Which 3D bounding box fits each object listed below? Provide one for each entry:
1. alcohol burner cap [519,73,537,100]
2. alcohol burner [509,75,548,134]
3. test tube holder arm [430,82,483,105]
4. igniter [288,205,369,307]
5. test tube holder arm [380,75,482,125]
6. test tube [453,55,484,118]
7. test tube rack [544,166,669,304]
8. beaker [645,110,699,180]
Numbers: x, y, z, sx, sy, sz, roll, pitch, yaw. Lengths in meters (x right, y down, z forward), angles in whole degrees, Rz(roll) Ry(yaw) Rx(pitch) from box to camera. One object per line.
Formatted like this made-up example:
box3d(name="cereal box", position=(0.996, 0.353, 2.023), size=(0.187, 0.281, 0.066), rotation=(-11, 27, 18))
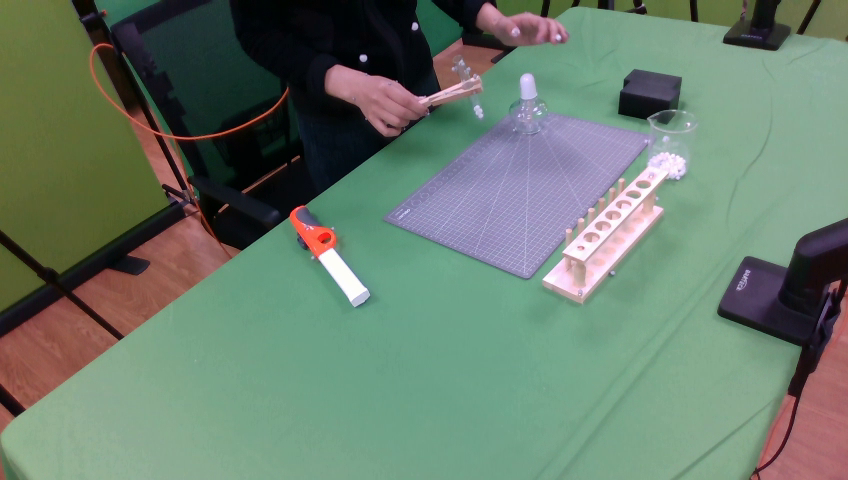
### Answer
box3d(name="alcohol burner cap", position=(0.198, -0.298, 1.163), size=(0.034, 0.048, 0.033), rotation=(-9, 37, 7))
box3d(name="alcohol burner", position=(0.204, -0.270, 1.186), size=(0.078, 0.119, 0.077), rotation=(-5, 42, 5))
box3d(name="test tube holder arm", position=(0.052, -0.236, 0.975), size=(0.087, 0.015, 0.010), rotation=(-12, 65, 19))
box3d(name="igniter", position=(-0.163, 0.018, 0.986), size=(0.057, 0.025, 0.274), rotation=(-33, 45, -12))
box3d(name="test tube holder arm", position=(0.010, -0.228, 0.991), size=(0.178, 0.015, 0.013), rotation=(-19, 62, 16))
box3d(name="test tube", position=(0.074, -0.244, 0.974), size=(0.017, 0.151, 0.017), rotation=(-8, 64, 17))
box3d(name="test tube rack", position=(0.274, -0.018, 0.903), size=(0.066, 0.085, 0.243), rotation=(26, 51, 35))
box3d(name="beaker", position=(0.417, -0.160, 1.032), size=(0.083, 0.101, 0.074), rotation=(25, 51, 35))
